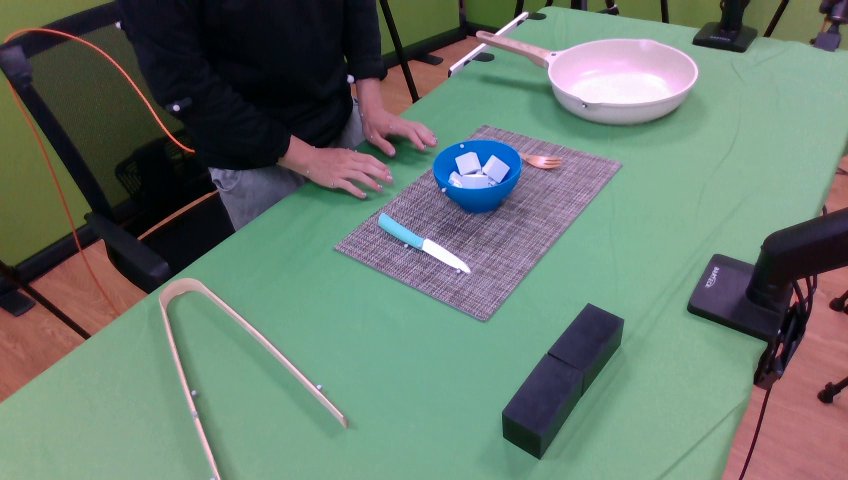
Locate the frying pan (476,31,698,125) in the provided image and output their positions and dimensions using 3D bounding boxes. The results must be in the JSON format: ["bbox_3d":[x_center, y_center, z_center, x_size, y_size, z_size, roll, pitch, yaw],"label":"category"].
[{"bbox_3d":[0.321,-0.371,1.290,0.484,0.103,0.307,29,51,23],"label":"frying pan"}]

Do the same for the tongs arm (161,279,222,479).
[{"bbox_3d":[-0.297,0.174,0.797,0.051,0.026,0.381,-25,43,-21],"label":"tongs arm"}]

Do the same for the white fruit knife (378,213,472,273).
[{"bbox_3d":[-0.004,0.005,0.961,0.205,0.016,0.027,29,62,34],"label":"white fruit knife"}]

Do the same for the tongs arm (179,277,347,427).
[{"bbox_3d":[-0.231,0.141,0.832,0.384,0.028,0.028,30,55,35],"label":"tongs arm"}]

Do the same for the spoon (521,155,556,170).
[{"bbox_3d":[0.156,-0.161,1.126,0.192,0.022,0.042,25,36,29],"label":"spoon"}]

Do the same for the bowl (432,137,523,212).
[{"bbox_3d":[0.091,-0.100,1.022,0.151,0.077,0.150,-4,41,4],"label":"bowl"}]
